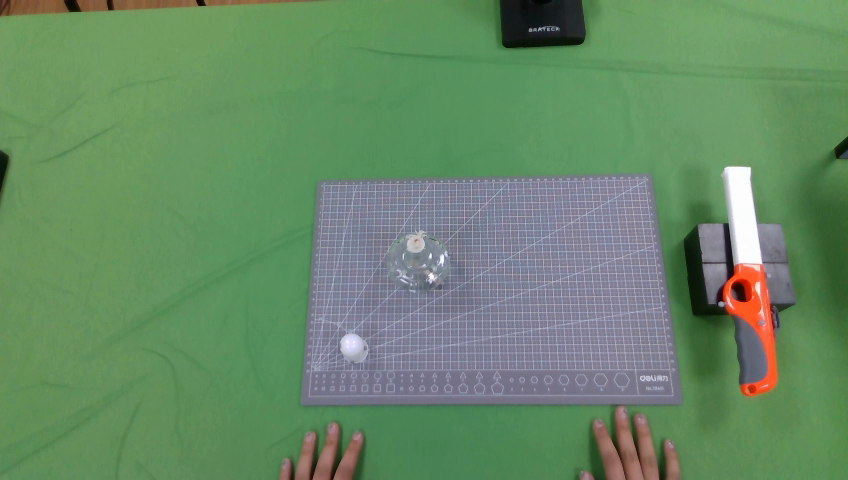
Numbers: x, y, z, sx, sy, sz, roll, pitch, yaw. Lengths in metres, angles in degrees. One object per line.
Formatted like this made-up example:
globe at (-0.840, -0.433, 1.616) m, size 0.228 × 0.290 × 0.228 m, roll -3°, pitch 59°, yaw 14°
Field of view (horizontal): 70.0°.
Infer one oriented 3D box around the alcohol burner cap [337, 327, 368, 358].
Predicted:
alcohol burner cap at (-0.087, 0.122, 0.726) m, size 0.034 × 0.048 × 0.033 m, roll -1°, pitch 70°, yaw 4°

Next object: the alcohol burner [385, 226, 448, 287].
alcohol burner at (-0.010, 0.014, 0.723) m, size 0.078 × 0.120 × 0.077 m, roll 0°, pitch 69°, yaw 1°

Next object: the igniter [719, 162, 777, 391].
igniter at (0.369, 0.035, 0.698) m, size 0.057 × 0.025 × 0.274 m, roll 3°, pitch 69°, yaw 7°
